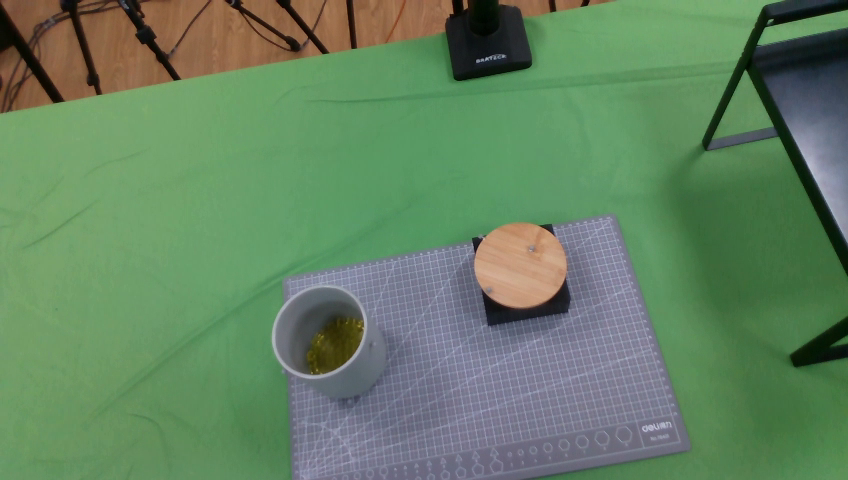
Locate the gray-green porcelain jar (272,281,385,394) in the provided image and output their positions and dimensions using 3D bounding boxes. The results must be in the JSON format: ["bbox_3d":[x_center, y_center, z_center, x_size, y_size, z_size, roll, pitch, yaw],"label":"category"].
[{"bbox_3d":[-0.104,0.118,0.701,0.106,0.127,0.105,-3,65,7],"label":"gray-green porcelain jar"}]

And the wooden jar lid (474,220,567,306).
[{"bbox_3d":[0.113,0.028,0.715,0.108,0.021,0.107,-3,66,7],"label":"wooden jar lid"}]
